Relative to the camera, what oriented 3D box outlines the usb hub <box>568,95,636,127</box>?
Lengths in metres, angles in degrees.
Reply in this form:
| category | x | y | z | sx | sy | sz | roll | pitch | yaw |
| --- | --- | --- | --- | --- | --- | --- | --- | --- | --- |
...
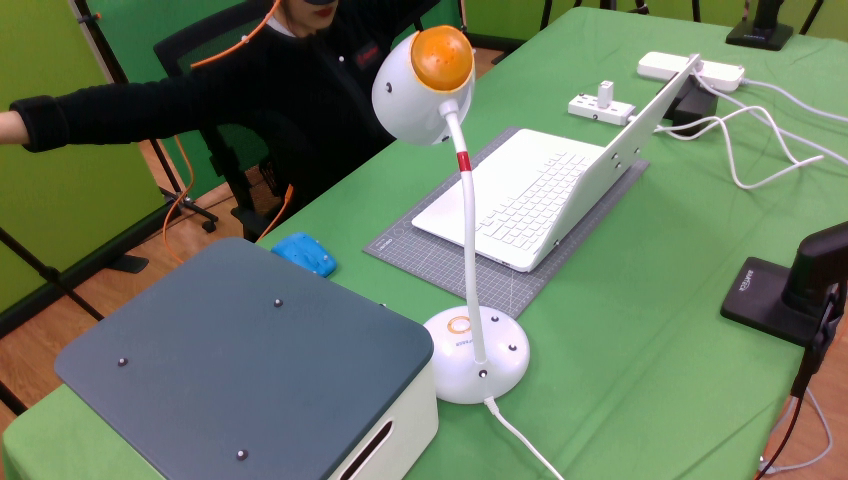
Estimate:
| category | x | y | z | sx | sy | sz | roll | pitch | yaw |
| --- | --- | --- | --- | --- | --- | --- | --- | --- | --- |
| usb hub | 0.360 | -0.263 | 1.228 | 0.124 | 0.025 | 0.049 | 24 | 49 | 33 |

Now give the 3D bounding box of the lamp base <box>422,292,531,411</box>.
| category | x | y | z | sx | sy | sz | roll | pitch | yaw |
| --- | --- | --- | --- | --- | --- | --- | --- | --- | --- |
| lamp base | 0.054 | 0.095 | 0.740 | 0.161 | 0.181 | 0.177 | -19 | 43 | -11 |

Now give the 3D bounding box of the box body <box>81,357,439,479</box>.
| category | x | y | z | sx | sy | sz | roll | pitch | yaw |
| --- | --- | --- | --- | --- | --- | --- | --- | --- | --- |
| box body | -0.189 | 0.179 | 0.702 | 0.361 | 0.161 | 0.255 | 22 | 49 | 32 |

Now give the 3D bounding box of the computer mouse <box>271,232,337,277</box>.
| category | x | y | z | sx | sy | sz | roll | pitch | yaw |
| --- | --- | --- | --- | --- | --- | --- | --- | --- | --- |
| computer mouse | -0.197 | 0.027 | 0.983 | 0.063 | 0.041 | 0.116 | -33 | 49 | -28 |

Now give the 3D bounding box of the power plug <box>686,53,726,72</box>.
| category | x | y | z | sx | sy | sz | roll | pitch | yaw |
| --- | --- | --- | --- | --- | --- | --- | --- | --- | --- |
| power plug | 0.584 | -0.361 | 1.260 | 0.072 | 0.053 | 0.035 | 14 | 55 | 16 |

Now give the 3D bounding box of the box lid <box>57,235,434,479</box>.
| category | x | y | z | sx | sy | sz | roll | pitch | yaw |
| --- | --- | --- | --- | --- | --- | --- | --- | --- | --- |
| box lid | -0.198 | 0.123 | 0.653 | 0.368 | 0.015 | 0.264 | 22 | 49 | 32 |

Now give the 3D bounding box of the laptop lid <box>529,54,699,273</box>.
| category | x | y | z | sx | sy | sz | roll | pitch | yaw |
| --- | --- | --- | --- | --- | --- | --- | --- | --- | --- |
| laptop lid | 0.283 | -0.114 | 0.897 | 0.013 | 0.242 | 0.358 | 38 | 55 | 17 |

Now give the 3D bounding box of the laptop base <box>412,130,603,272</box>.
| category | x | y | z | sx | sy | sz | roll | pitch | yaw |
| --- | --- | --- | --- | --- | --- | --- | --- | --- | --- |
| laptop base | 0.176 | -0.083 | 1.055 | 0.233 | 0.023 | 0.355 | 21 | 48 | 36 |

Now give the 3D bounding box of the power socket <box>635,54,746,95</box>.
| category | x | y | z | sx | sy | sz | roll | pitch | yaw |
| --- | --- | --- | --- | --- | --- | --- | --- | --- | --- |
| power socket | 0.564 | -0.357 | 1.293 | 0.225 | 0.033 | 0.072 | 24 | 51 | 33 |

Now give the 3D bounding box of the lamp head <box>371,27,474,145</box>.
| category | x | y | z | sx | sy | sz | roll | pitch | yaw |
| --- | --- | --- | --- | --- | --- | --- | --- | --- | --- |
| lamp head | 0.007 | -0.167 | 0.644 | 0.113 | 0.112 | 0.122 | -22 | 2 | -14 |

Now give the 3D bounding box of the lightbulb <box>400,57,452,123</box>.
| category | x | y | z | sx | sy | sz | roll | pitch | yaw |
| --- | --- | --- | --- | --- | --- | --- | --- | --- | --- |
| lightbulb | 0.003 | -0.169 | 0.668 | 0.059 | 0.108 | 0.059 | 0 | 79 | -1 |

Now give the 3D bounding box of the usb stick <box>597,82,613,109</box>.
| category | x | y | z | sx | sy | sz | roll | pitch | yaw |
| --- | --- | --- | --- | --- | --- | --- | --- | --- | --- |
| usb stick | 0.360 | -0.281 | 1.204 | 0.021 | 0.059 | 0.027 | 23 | 49 | 33 |
